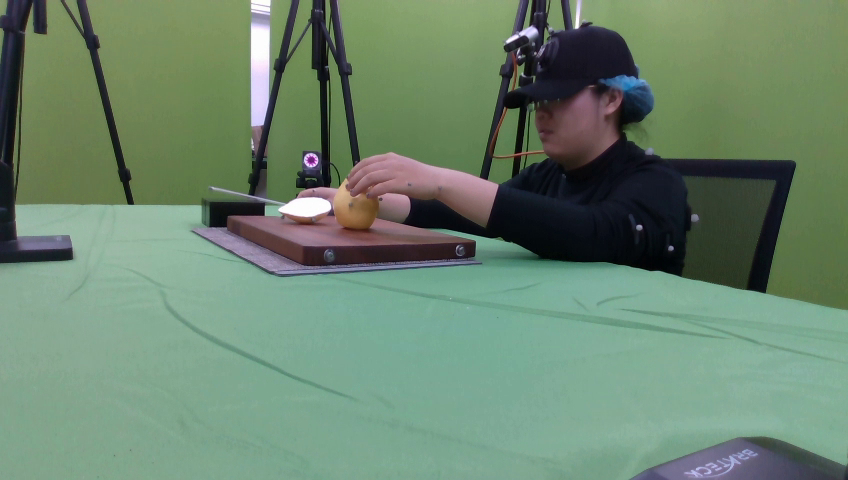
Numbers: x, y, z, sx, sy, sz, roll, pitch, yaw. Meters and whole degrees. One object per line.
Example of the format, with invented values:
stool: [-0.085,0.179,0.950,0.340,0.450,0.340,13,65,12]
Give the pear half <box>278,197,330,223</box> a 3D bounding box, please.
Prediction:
pear half: [-0.203,-0.046,1.033,0.088,0.031,0.070,-13,27,-17]

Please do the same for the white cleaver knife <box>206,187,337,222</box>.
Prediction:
white cleaver knife: [-0.288,-0.076,1.219,0.288,0.021,0.065,14,2,-29]

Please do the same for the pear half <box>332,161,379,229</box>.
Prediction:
pear half: [-0.103,-0.071,0.970,0.055,0.110,0.077,10,15,43]
